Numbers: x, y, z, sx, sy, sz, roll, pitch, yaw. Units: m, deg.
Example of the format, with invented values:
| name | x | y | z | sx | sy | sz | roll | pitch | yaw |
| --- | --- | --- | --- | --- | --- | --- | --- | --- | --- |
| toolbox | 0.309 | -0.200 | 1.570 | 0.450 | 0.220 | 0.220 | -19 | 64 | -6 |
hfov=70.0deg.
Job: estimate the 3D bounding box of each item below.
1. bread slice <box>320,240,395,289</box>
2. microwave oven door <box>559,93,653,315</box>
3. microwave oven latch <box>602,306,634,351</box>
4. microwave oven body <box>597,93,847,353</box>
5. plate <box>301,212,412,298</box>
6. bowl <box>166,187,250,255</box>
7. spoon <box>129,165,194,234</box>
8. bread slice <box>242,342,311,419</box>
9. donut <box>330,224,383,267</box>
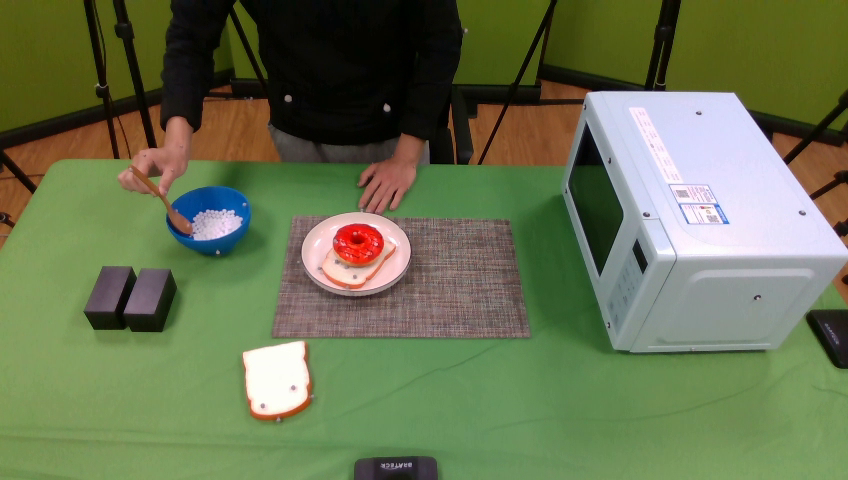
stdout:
| name | x | y | z | sx | sy | sz | roll | pitch | yaw |
| --- | --- | --- | --- | --- | --- | --- | --- | --- | --- |
| bread slice | -0.129 | 0.037 | 1.141 | 0.107 | 0.018 | 0.134 | 19 | 47 | 14 |
| microwave oven door | 0.327 | -0.074 | 1.123 | 0.039 | 0.245 | 0.353 | -1 | 46 | -5 |
| microwave oven latch | 0.332 | 0.153 | 1.044 | 0.030 | 0.029 | 0.078 | 0 | 45 | -4 |
| microwave oven body | 0.475 | -0.041 | 1.109 | 0.326 | 0.261 | 0.438 | -1 | 45 | -4 |
| plate | -0.126 | 0.031 | 1.145 | 0.208 | 0.039 | 0.206 | 2 | 46 | -2 |
| bowl | -0.403 | -0.024 | 1.154 | 0.151 | 0.077 | 0.150 | 2 | 46 | -2 |
| spoon | -0.459 | -0.071 | 1.067 | 0.021 | 0.195 | 0.041 | -17 | 55 | -2 |
| bread slice | -0.233 | 0.223 | 0.970 | 0.105 | 0.019 | 0.130 | -10 | 46 | -12 |
| donut | -0.125 | 0.010 | 1.127 | 0.099 | 0.048 | 0.098 | 3 | 45 | -3 |
